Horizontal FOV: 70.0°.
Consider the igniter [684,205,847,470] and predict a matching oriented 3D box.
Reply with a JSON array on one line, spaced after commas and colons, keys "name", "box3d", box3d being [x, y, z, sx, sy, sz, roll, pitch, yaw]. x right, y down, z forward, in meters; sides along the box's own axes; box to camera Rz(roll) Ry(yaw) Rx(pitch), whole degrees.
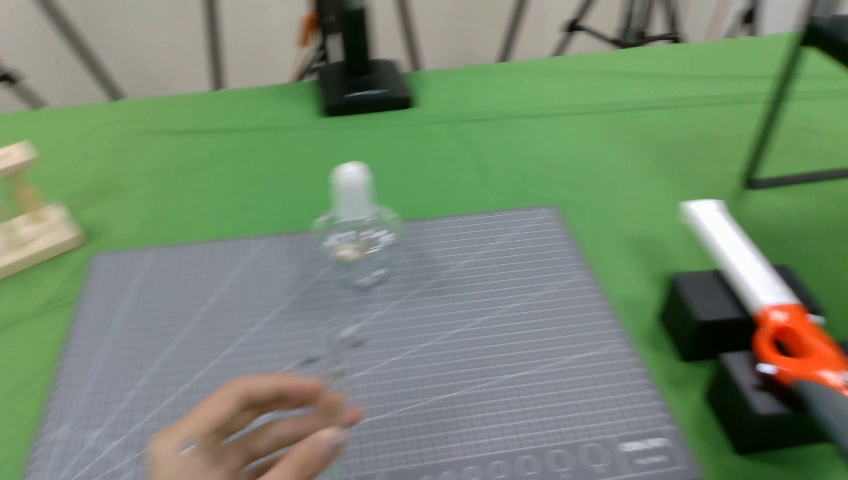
[{"name": "igniter", "box3d": [0.254, 0.063, 0.429, 0.057, 0.025, 0.273, -5, 40, -1]}]

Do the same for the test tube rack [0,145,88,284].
[{"name": "test tube rack", "box3d": [-0.433, 0.011, 0.508, 0.242, 0.086, 0.066, -29, 49, -29]}]

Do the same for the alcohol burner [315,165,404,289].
[{"name": "alcohol burner", "box3d": [-0.055, -0.015, 0.516, 0.078, 0.120, 0.077, 2, 42, -1]}]

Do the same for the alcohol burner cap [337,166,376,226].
[{"name": "alcohol burner cap", "box3d": [-0.056, -0.039, 0.496, 0.034, 0.048, 0.033, 3, 40, -2]}]

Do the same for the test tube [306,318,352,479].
[{"name": "test tube", "box3d": [-0.050, 0.102, 0.307, 0.017, 0.151, 0.017, 8, 29, -4]}]
